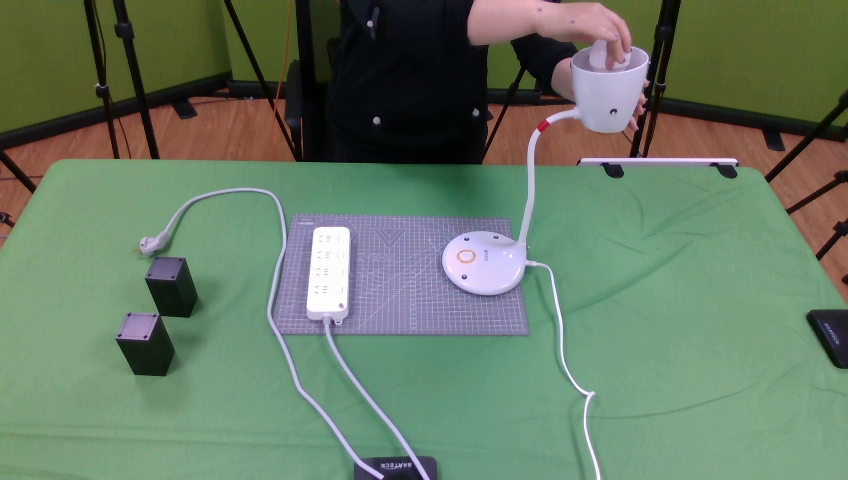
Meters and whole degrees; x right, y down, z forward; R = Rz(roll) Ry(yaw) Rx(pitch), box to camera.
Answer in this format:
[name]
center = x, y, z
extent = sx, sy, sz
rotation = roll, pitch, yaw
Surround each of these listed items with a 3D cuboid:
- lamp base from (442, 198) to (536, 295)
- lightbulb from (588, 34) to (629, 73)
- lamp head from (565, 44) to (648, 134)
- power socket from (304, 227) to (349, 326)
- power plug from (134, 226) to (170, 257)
[lamp base]
center = 0.130, -0.012, 1.105
extent = 0.179, 0.181, 0.159
rotation = -1, 46, -9
[lightbulb]
center = 0.278, -0.255, 0.917
extent = 0.059, 0.108, 0.059
rotation = -5, 30, 3
[lamp head]
center = 0.276, -0.225, 0.932
extent = 0.112, 0.123, 0.112
rotation = -1, 38, 1
[power socket]
center = -0.177, 0.059, 1.115
extent = 0.072, 0.033, 0.225
rotation = -1, 46, -4
[power plug]
center = -0.515, 0.006, 1.153
extent = 0.052, 0.035, 0.072
rotation = -6, 24, 6
